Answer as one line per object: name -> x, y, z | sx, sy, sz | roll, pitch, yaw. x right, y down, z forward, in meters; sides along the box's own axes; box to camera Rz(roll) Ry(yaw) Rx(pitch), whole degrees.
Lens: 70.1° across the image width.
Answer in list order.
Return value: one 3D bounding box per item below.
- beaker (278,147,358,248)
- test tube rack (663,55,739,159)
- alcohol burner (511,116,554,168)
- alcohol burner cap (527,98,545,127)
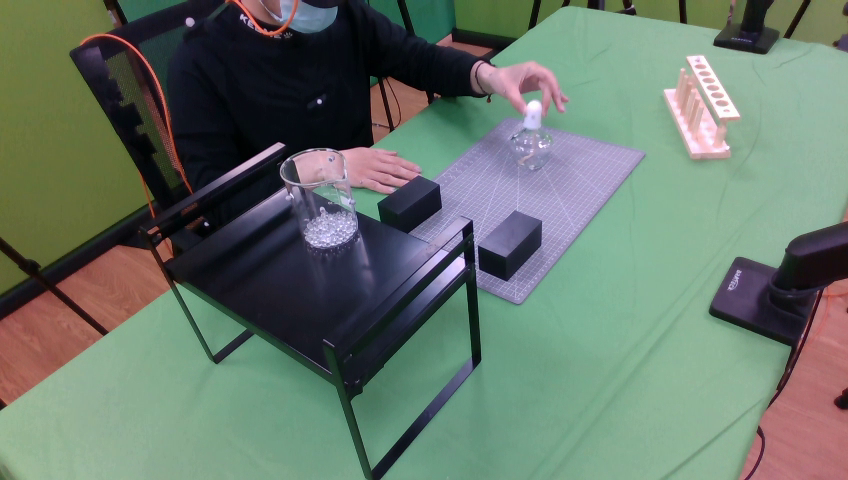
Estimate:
beaker -> -0.117, -0.046, 0.705 | 0.083, 0.101, 0.074 | 17, 47, 25
test tube rack -> 0.518, -0.256, 1.144 | 0.066, 0.085, 0.241 | -1, 41, 8
alcohol burner -> 0.195, -0.190, 1.088 | 0.078, 0.119, 0.077 | -3, 42, 3
alcohol burner cap -> 0.195, -0.225, 1.058 | 0.034, 0.048, 0.033 | -7, 37, 6
